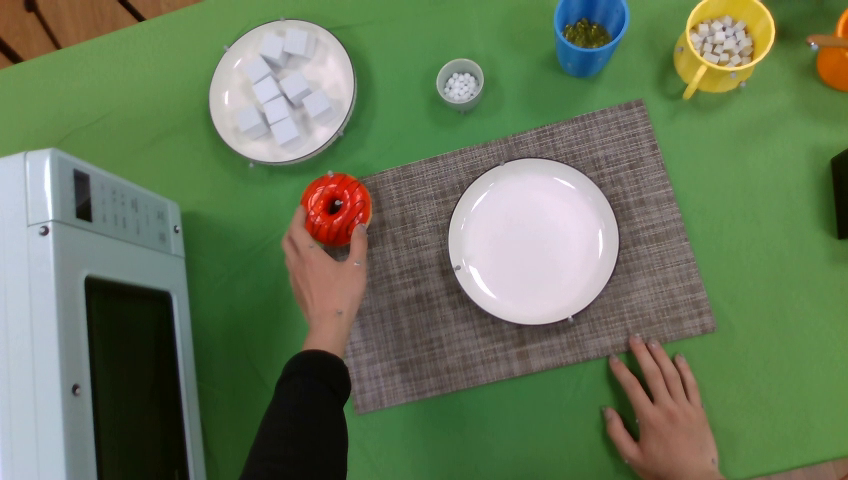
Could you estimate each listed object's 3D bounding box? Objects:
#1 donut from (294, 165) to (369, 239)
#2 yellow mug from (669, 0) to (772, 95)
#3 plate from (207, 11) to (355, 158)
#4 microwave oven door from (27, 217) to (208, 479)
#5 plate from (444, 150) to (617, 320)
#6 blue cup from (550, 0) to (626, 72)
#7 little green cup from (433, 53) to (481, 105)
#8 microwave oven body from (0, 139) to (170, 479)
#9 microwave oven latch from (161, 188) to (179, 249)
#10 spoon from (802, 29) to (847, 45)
[{"bbox_3d":[-0.120,-0.049,0.788,0.099,0.048,0.098,-1,82,10],"label":"donut"},{"bbox_3d":[0.349,-0.233,0.737,0.099,0.064,0.131,34,88,13],"label":"yellow mug"},{"bbox_3d":[-0.192,-0.209,0.831,0.207,0.039,0.207,-1,81,9],"label":"plate"},{"bbox_3d":[-0.327,0.169,0.669,0.039,0.245,0.354,-12,79,7],"label":"microwave oven door"},{"bbox_3d":[0.129,-0.006,0.746,0.209,0.038,0.208,-1,81,9],"label":"plate"},{"bbox_3d":[0.196,-0.255,0.747,0.092,0.100,0.092,-1,82,8],"label":"blue cup"},{"bbox_3d":[0.045,-0.209,0.795,0.061,0.039,0.061,-2,80,9],"label":"little green cup"},{"bbox_3d":[-0.475,0.157,0.699,0.326,0.261,0.439,-11,80,6],"label":"microwave oven body"},{"bbox_3d":[-0.347,-0.027,0.807,0.030,0.029,0.079,-9,80,7],"label":"microwave oven latch"},{"bbox_3d":[0.468,-0.221,0.675,0.021,0.195,0.041,-29,71,49],"label":"spoon"}]
